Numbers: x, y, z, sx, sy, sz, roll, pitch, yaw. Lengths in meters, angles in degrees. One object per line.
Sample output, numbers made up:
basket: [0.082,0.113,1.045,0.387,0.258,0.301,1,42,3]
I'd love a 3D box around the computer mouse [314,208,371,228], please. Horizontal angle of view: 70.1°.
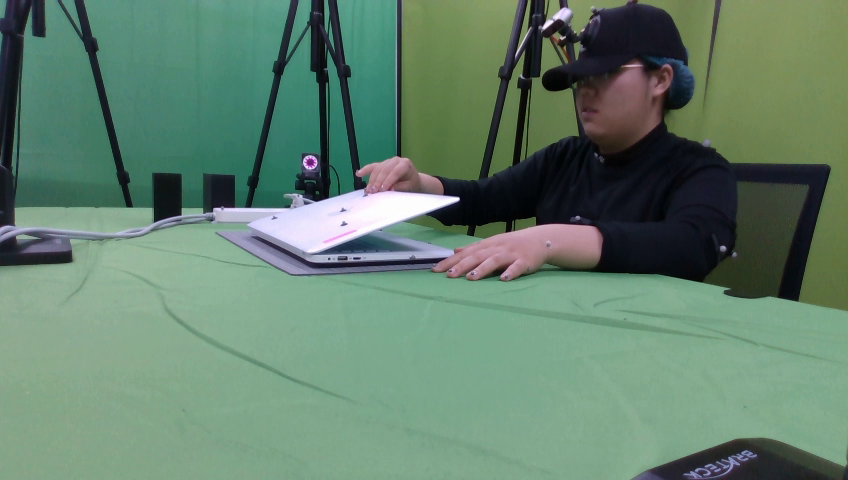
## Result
computer mouse: [-0.174,-0.047,1.292,0.118,0.041,0.062,-8,13,-34]

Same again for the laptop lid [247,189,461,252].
laptop lid: [-0.127,-0.042,0.946,0.243,0.013,0.355,-18,16,-24]

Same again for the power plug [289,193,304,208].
power plug: [-0.280,-0.076,1.340,0.035,0.052,0.072,3,6,-17]

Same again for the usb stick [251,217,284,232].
usb stick: [-0.290,-0.028,1.119,0.059,0.027,0.021,-3,12,-29]

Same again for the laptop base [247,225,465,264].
laptop base: [-0.124,0.006,0.955,0.237,0.023,0.352,2,6,-30]

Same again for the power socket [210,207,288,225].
power socket: [-0.335,-0.051,1.281,0.228,0.032,0.072,-1,8,-28]
